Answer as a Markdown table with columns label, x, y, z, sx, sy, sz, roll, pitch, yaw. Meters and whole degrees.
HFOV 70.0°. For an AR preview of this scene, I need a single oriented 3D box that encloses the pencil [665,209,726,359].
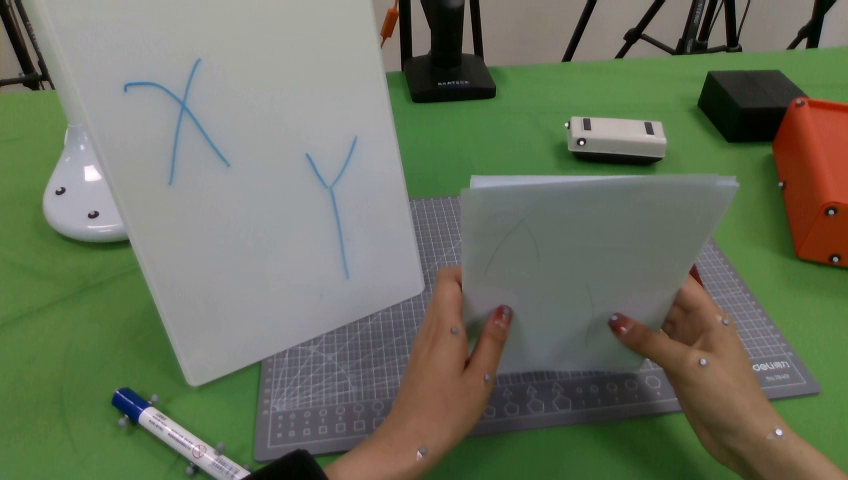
| label | x | y | z | sx | sy | sz | roll | pitch | yaw |
| --- | --- | --- | --- | --- | --- | --- | --- | --- | --- |
| pencil | 0.258 | 0.035 | 0.579 | 0.012 | 0.012 | 0.192 | 2 | 43 | 2 |

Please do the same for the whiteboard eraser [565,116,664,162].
| label | x | y | z | sx | sy | sz | roll | pitch | yaw |
| --- | --- | --- | --- | --- | --- | --- | --- | --- | --- |
| whiteboard eraser | 0.230 | -0.122 | 0.738 | 0.112 | 0.042 | 0.055 | 6 | 43 | 5 |

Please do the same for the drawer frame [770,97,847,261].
| label | x | y | z | sx | sy | sz | roll | pitch | yaw |
| --- | --- | --- | --- | --- | --- | --- | --- | --- | --- |
| drawer frame | 0.492 | -0.056 | 0.637 | 0.201 | 0.083 | 0.212 | 10 | 42 | 11 |

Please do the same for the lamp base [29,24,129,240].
| label | x | y | z | sx | sy | sz | roll | pitch | yaw |
| --- | --- | --- | --- | --- | --- | --- | --- | --- | --- |
| lamp base | -0.337 | -0.117 | 0.613 | 0.178 | 0.182 | 0.160 | 22 | 46 | 26 |

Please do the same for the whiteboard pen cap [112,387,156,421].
| label | x | y | z | sx | sy | sz | roll | pitch | yaw |
| --- | --- | --- | --- | --- | --- | --- | --- | --- | --- |
| whiteboard pen cap | -0.222 | 0.126 | 0.464 | 0.033 | 0.018 | 0.018 | 21 | 45 | 25 |

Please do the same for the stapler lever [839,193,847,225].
| label | x | y | z | sx | sy | sz | roll | pitch | yaw |
| --- | --- | --- | --- | --- | --- | --- | --- | --- | --- |
| stapler lever | 0.467 | -0.023 | 0.587 | 0.118 | 0.040 | 0.026 | 10 | 57 | 9 |

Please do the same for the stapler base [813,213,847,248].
| label | x | y | z | sx | sy | sz | roll | pitch | yaw |
| --- | --- | --- | --- | --- | --- | --- | --- | --- | --- |
| stapler base | 0.467 | -0.008 | 0.608 | 0.130 | 0.024 | 0.041 | 10 | 57 | 9 |

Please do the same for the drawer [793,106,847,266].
| label | x | y | z | sx | sy | sz | roll | pitch | yaw |
| --- | --- | --- | --- | --- | --- | --- | --- | --- | --- |
| drawer | 0.491 | -0.053 | 0.634 | 0.194 | 0.074 | 0.210 | 11 | 42 | 13 |

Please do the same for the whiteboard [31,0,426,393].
| label | x | y | z | sx | sy | sz | roll | pitch | yaw |
| --- | --- | --- | --- | --- | --- | --- | --- | --- | --- |
| whiteboard | -0.147 | -0.071 | 0.515 | 0.217 | 0.308 | 0.142 | -21 | 27 | -21 |

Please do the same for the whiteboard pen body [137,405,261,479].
| label | x | y | z | sx | sy | sz | roll | pitch | yaw |
| --- | --- | --- | --- | --- | --- | --- | --- | --- | --- |
| whiteboard pen body | -0.173 | 0.147 | 0.441 | 0.140 | 0.017 | 0.017 | 22 | 46 | 23 |
